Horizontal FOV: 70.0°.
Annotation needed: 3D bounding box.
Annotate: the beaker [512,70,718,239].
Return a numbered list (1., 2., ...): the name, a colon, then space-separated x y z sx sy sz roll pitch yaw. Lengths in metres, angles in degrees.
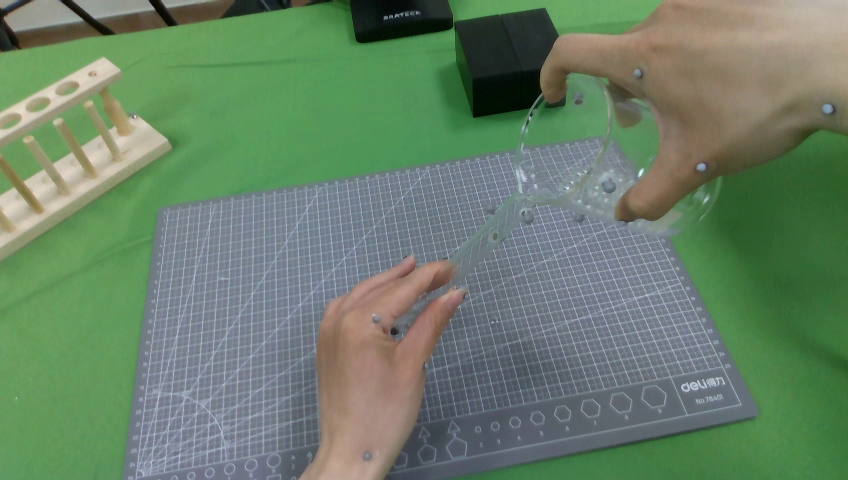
1. beaker: 0.112 -0.042 0.355 0.101 0.084 0.073 15 40 -29

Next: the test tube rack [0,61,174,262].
1. test tube rack: -0.371 -0.063 0.568 0.066 0.086 0.242 35 62 27

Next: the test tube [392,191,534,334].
1. test tube: 0.020 0.020 0.403 0.017 0.150 0.017 24 40 -22
